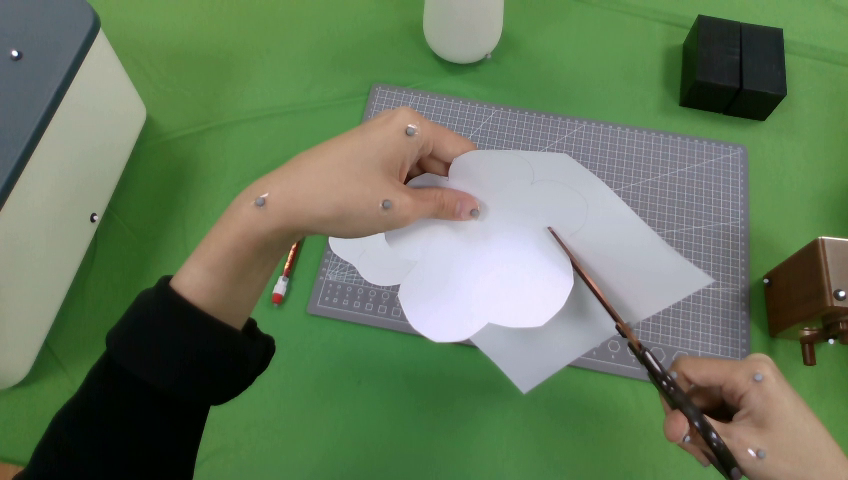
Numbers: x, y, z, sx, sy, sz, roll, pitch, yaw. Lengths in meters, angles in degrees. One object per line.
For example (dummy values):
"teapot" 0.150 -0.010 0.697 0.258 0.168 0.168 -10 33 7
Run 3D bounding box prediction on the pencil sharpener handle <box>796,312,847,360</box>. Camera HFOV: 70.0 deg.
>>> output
"pencil sharpener handle" 0.372 0.089 0.555 0.036 0.068 0.030 12 66 -11

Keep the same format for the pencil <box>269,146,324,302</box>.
"pencil" -0.136 -0.023 0.663 0.012 0.012 0.193 11 65 5

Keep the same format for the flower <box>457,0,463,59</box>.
"flower" 0.039 -0.345 0.610 0.044 0.365 0.038 4 49 5

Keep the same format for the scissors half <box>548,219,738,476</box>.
"scissors half" 0.122 0.059 0.342 0.013 0.040 0.175 -35 86 2

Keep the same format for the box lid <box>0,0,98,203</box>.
"box lid" -0.470 -0.092 0.521 0.263 0.015 0.369 11 67 3

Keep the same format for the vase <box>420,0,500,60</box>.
"vase" 0.043 -0.299 0.680 0.098 0.201 0.097 0 65 1

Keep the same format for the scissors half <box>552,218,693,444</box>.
"scissors half" 0.122 0.056 0.363 0.013 0.040 0.176 -34 108 7

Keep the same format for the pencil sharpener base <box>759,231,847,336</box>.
"pencil sharpener base" 0.382 0.048 0.586 0.061 0.108 0.076 6 67 2

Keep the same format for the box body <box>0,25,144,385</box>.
"box body" -0.470 -0.059 0.589 0.254 0.161 0.361 10 67 4
